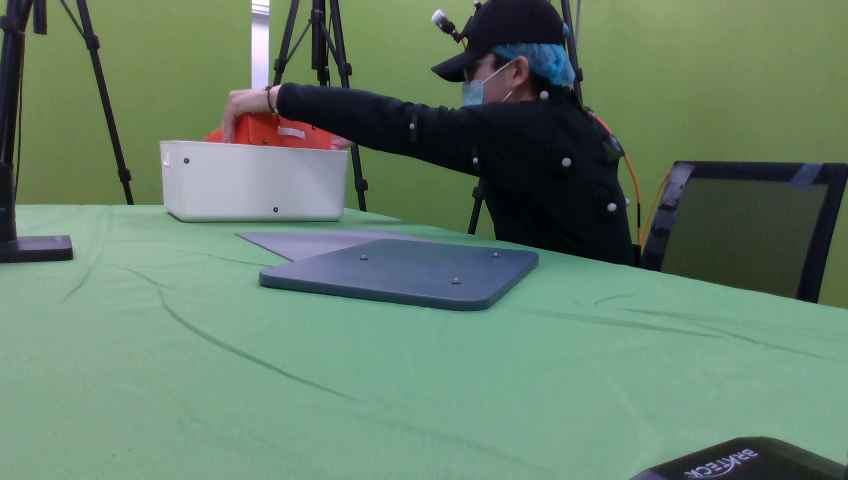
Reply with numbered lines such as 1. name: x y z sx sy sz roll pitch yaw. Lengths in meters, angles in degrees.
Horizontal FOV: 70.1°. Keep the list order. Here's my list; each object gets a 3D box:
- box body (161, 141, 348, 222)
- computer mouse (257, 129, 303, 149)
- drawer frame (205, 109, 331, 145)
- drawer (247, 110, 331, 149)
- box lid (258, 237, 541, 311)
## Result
1. box body: -0.379 -0.132 1.352 0.366 0.160 0.253 -2 8 -30
2. computer mouse: -0.300 -0.208 1.269 0.062 0.041 0.117 1 -2 18
3. drawer frame: -0.350 -0.213 1.353 0.203 0.082 0.212 1 -9 -44
4. drawer: -0.346 -0.211 1.351 0.195 0.073 0.211 1 -10 -43
5. box lid: -0.004 0.033 0.774 0.262 0.015 0.372 5 8 19
